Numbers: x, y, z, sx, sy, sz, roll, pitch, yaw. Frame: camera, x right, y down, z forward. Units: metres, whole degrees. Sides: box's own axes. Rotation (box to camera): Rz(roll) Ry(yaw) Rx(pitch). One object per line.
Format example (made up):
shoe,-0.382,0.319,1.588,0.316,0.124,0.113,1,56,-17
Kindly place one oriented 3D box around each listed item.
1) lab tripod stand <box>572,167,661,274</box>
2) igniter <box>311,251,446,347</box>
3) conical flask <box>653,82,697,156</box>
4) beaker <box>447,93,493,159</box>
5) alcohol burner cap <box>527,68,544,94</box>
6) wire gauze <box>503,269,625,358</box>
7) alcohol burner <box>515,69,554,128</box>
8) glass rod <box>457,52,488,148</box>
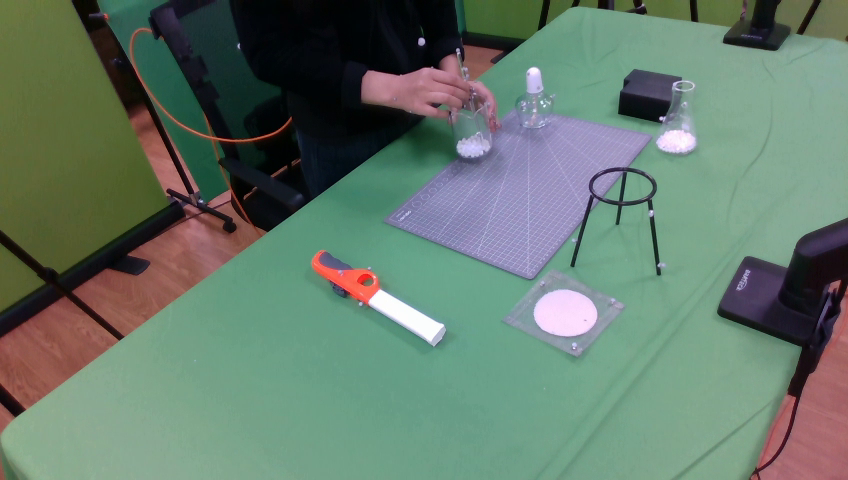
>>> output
lab tripod stand,0.284,-0.030,0.879,0.148,0.132,0.147,-7,38,6
igniter,-0.078,0.081,0.899,0.274,0.025,0.057,27,62,35
conical flask,0.454,-0.218,1.077,0.075,0.122,0.075,-5,40,5
beaker,0.088,-0.206,1.110,0.074,0.101,0.083,-14,40,1
alcohol burner cap,0.216,-0.312,1.179,0.034,0.048,0.033,-9,40,9
wire gauze,0.194,0.100,0.840,0.120,0.011,0.125,27,54,36
alcohol burner,0.221,-0.285,1.203,0.078,0.119,0.077,-4,39,4
glass rod,0.086,-0.237,1.047,0.008,0.201,0.008,-12,44,13
